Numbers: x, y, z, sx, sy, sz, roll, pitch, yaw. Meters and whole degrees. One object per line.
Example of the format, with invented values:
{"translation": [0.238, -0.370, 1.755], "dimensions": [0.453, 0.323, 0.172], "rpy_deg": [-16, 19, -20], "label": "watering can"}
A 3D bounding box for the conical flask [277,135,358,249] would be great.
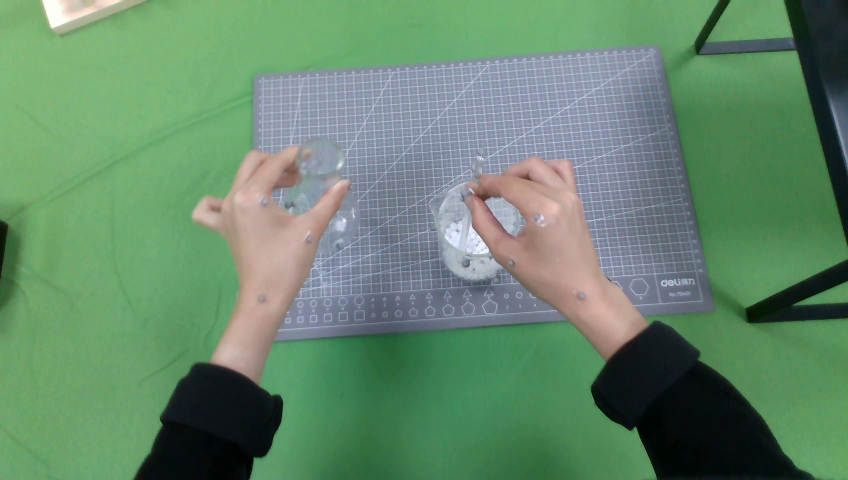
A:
{"translation": [-0.093, -0.045, 0.525], "dimensions": [0.075, 0.122, 0.075], "rpy_deg": [3, 69, -8], "label": "conical flask"}

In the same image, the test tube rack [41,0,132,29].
{"translation": [-0.332, -0.333, 0.681], "dimensions": [0.242, 0.085, 0.066], "rpy_deg": [-24, 73, -6], "label": "test tube rack"}

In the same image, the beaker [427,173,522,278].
{"translation": [0.044, -0.009, 0.563], "dimensions": [0.084, 0.101, 0.073], "rpy_deg": [19, 74, 9], "label": "beaker"}

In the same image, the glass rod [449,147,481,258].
{"translation": [0.031, -0.023, 0.501], "dimensions": [0.008, 0.201, 0.008], "rpy_deg": [1, 68, -2], "label": "glass rod"}
